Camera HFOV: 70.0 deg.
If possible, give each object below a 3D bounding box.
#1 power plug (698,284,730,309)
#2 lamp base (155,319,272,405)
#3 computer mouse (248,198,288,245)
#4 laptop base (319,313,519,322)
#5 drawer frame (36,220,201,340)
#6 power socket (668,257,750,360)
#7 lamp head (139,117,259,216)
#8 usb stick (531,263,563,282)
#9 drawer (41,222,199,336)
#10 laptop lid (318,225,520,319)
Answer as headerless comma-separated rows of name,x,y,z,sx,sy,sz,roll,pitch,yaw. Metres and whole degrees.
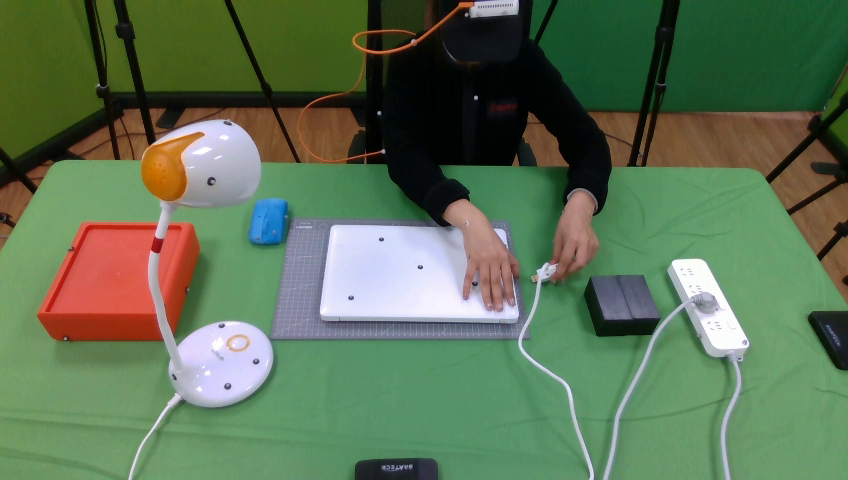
power plug,0.510,0.096,1.059,0.052,0.073,0.035,-22,61,10
lamp base,-0.330,0.149,0.918,0.160,0.181,0.179,26,52,20
computer mouse,-0.309,-0.041,1.205,0.063,0.041,0.116,3,50,-3
laptop base,-0.009,0.063,1.138,0.354,0.023,0.234,1,42,-3
drawer frame,-0.518,0.065,1.055,0.202,0.083,0.212,0,47,-5
power socket,0.517,0.117,1.109,0.072,0.033,0.225,-3,47,-4
lamp head,-0.281,-0.086,0.734,0.112,0.113,0.123,21,25,16
usb stick,0.231,0.063,1.140,0.059,0.027,0.021,-19,70,10
drawer,-0.519,0.064,1.058,0.195,0.073,0.210,1,47,-4
laptop lid,-0.009,0.053,1.131,0.357,0.013,0.240,2,44,-2
